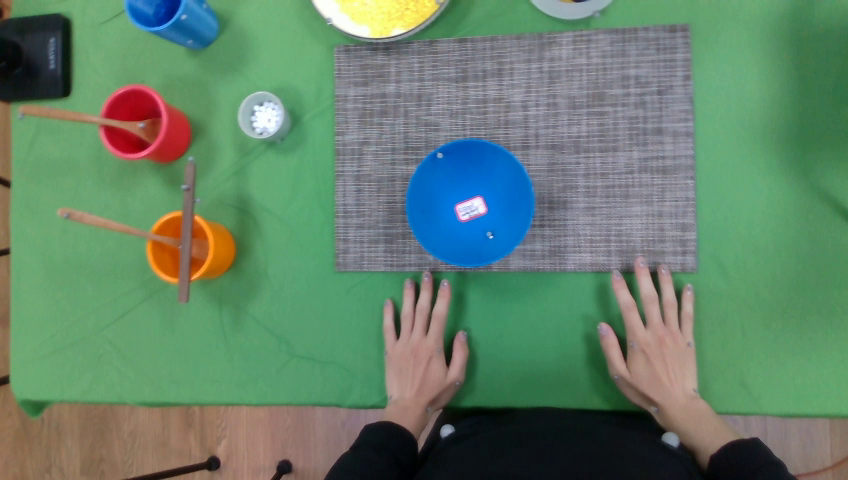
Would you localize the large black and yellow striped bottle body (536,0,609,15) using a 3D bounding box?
[{"bbox_3d":[0.174,-0.349,0.674,0.130,0.184,0.130,0,87,10],"label":"large black and yellow striped bottle body"}]

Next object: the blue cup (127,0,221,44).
[{"bbox_3d":[-0.319,-0.304,0.793,0.092,0.100,0.092,0,88,11],"label":"blue cup"}]

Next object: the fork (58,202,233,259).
[{"bbox_3d":[-0.344,-0.012,0.763,0.209,0.018,0.028,19,94,-34],"label":"fork"}]

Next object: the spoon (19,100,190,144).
[{"bbox_3d":[-0.407,-0.158,0.782,0.195,0.021,0.041,7,90,-34],"label":"spoon"}]

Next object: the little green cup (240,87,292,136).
[{"bbox_3d":[-0.207,-0.167,0.802,0.061,0.039,0.061,0,88,10],"label":"little green cup"}]

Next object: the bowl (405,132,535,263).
[{"bbox_3d":[0.058,-0.047,0.732,0.151,0.077,0.151,0,88,10],"label":"bowl"}]

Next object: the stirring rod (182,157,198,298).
[{"bbox_3d":[-0.291,-0.015,0.752,0.014,0.006,0.176,1,88,11],"label":"stirring rod"}]

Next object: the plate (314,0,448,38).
[{"bbox_3d":[-0.051,-0.361,0.785,0.209,0.038,0.209,0,88,9],"label":"plate"}]
